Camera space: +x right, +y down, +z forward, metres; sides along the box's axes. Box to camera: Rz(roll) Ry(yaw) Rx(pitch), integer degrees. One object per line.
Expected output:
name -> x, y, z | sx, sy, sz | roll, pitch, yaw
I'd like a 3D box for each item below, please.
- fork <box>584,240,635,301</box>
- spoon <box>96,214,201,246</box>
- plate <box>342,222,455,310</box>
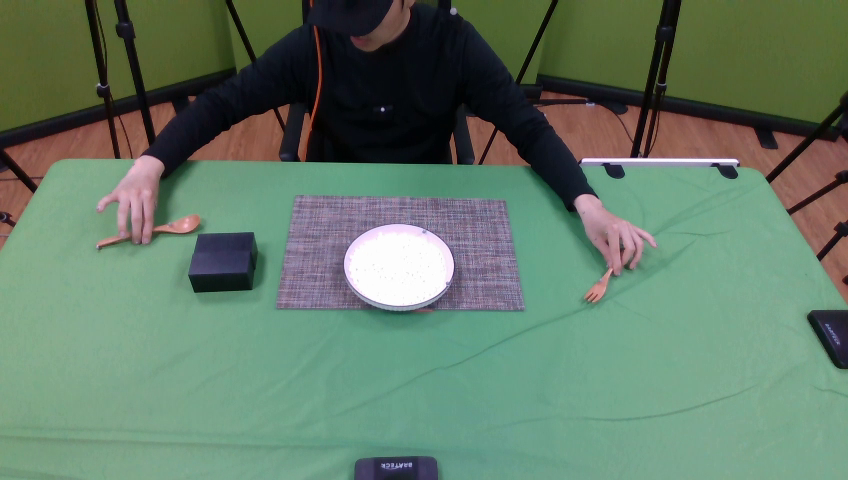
fork -> 0.364, 0.056, 1.171 | 0.028, 0.019, 0.207 | 20, 48, 34
spoon -> -0.530, -0.018, 1.172 | 0.194, 0.022, 0.041 | -12, 56, -17
plate -> -0.047, 0.052, 1.127 | 0.209, 0.038, 0.208 | 2, 46, -2
